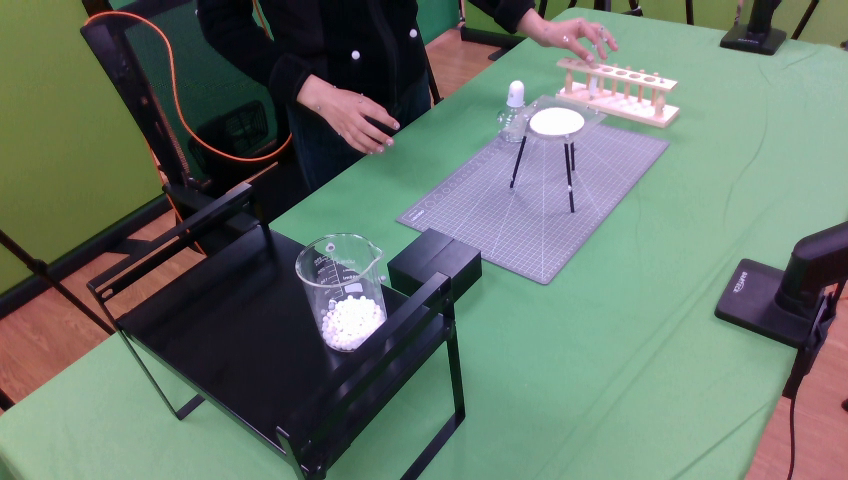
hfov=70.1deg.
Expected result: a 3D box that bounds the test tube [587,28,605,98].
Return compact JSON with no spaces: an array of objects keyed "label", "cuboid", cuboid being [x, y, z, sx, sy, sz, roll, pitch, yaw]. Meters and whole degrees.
[{"label":"test tube","cuboid":[0.343,-0.350,1.209,0.017,0.151,0.017,-2,45,3]}]

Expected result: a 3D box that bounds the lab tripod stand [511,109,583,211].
[{"label":"lab tripod stand","cuboid":[0.220,-0.138,1.014,0.148,0.132,0.147,-3,41,3]}]

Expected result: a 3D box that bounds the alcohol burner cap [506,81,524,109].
[{"label":"alcohol burner cap","cuboid":[0.173,-0.277,1.144,0.034,0.048,0.033,-1,39,1]}]

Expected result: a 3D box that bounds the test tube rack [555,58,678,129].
[{"label":"test tube rack","cuboid":[0.389,-0.307,1.229,0.240,0.085,0.067,25,51,33]}]

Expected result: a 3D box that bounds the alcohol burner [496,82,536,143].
[{"label":"alcohol burner","cuboid":[0.178,-0.250,1.168,0.078,0.119,0.077,-5,42,5]}]

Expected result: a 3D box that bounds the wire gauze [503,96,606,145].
[{"label":"wire gauze","cuboid":[0.211,-0.192,0.975,0.120,0.011,0.125,24,49,32]}]

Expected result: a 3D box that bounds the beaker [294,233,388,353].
[{"label":"beaker","cuboid":[-0.073,0.053,0.585,0.084,0.101,0.073,-13,41,-6]}]
